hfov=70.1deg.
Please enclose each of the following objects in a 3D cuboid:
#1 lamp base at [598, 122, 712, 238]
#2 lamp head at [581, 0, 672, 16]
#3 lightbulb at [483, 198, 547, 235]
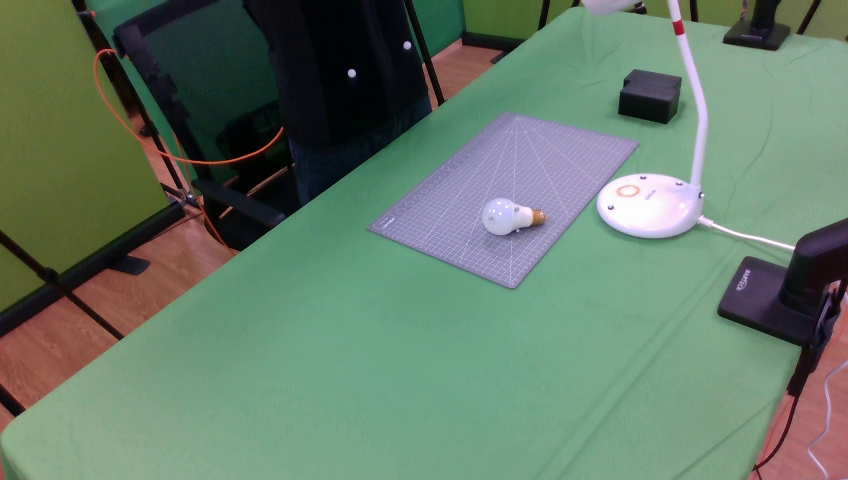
[{"bbox_3d":[0.365,-0.113,0.925,0.178,0.181,0.161,20,48,26],"label":"lamp base"},{"bbox_3d":[0.261,-0.338,0.738,0.122,0.113,0.112,9,42,42],"label":"lamp head"},{"bbox_3d":[0.147,-0.037,0.974,0.108,0.059,0.059,1,39,-12],"label":"lightbulb"}]
